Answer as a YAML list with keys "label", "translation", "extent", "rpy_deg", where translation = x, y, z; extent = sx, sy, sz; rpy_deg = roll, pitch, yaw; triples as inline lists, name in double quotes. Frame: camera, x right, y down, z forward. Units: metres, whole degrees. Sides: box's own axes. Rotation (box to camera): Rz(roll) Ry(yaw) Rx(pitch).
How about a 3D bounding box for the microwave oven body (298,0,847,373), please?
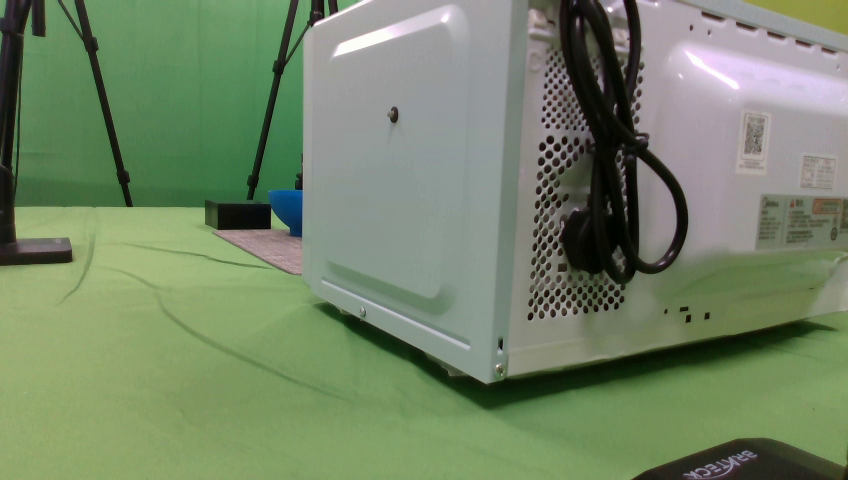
- label: "microwave oven body"
  translation: [0.151, -0.055, 0.543]
  extent: [0.444, 0.260, 0.324]
  rpy_deg: [-1, 7, -33]

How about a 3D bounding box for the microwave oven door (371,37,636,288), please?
- label: "microwave oven door"
  translation: [0.109, -0.080, 0.686]
  extent: [0.358, 0.243, 0.039]
  rpy_deg: [-2, 9, -33]

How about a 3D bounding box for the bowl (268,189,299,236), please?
- label: "bowl"
  translation: [-0.205, -0.049, 1.090]
  extent: [0.151, 0.077, 0.151]
  rpy_deg: [3, 7, 0]

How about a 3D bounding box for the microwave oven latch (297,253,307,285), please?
- label: "microwave oven latch"
  translation: [-0.082, 0.027, 0.582]
  extent: [0.079, 0.029, 0.030]
  rpy_deg: [-1, 7, -33]
